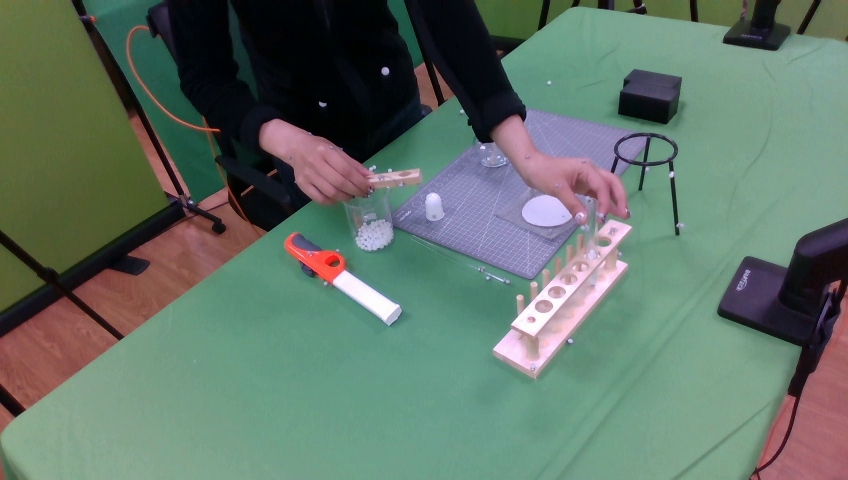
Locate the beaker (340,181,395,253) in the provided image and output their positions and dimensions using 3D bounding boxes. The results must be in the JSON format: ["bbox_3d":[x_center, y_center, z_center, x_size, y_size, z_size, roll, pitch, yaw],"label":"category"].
[{"bbox_3d":[-0.086,-0.037,0.985,0.084,0.101,0.073,-18,41,-11],"label":"beaker"}]

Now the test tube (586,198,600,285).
[{"bbox_3d":[0.220,0.006,0.788,0.017,0.151,0.017,-8,42,8],"label":"test tube"}]

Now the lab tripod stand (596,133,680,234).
[{"bbox_3d":[0.338,-0.091,0.940,0.148,0.132,0.147,-7,39,6],"label":"lab tripod stand"}]

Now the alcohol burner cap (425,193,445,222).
[{"bbox_3d":[0.017,-0.058,1.029,0.034,0.048,0.033,-6,39,5],"label":"alcohol burner cap"}]

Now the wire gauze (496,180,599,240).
[{"bbox_3d":[0.206,-0.050,1.012,0.125,0.011,0.120,-34,45,-26],"label":"wire gauze"}]

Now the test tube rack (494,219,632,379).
[{"bbox_3d":[0.191,0.068,0.818,0.066,0.085,0.243,26,51,35],"label":"test tube rack"}]

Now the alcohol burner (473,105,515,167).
[{"bbox_3d":[0.128,-0.196,1.116,0.078,0.119,0.077,-4,40,4],"label":"alcohol burner"}]

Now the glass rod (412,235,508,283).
[{"bbox_3d":[0.051,0.028,0.951,0.198,0.008,0.008,25,51,37],"label":"glass rod"}]

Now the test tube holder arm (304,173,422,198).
[{"bbox_3d":[-0.089,-0.078,0.857,0.178,0.015,0.013,-7,39,17],"label":"test tube holder arm"}]

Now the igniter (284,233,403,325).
[{"bbox_3d":[-0.136,0.054,0.942,0.274,0.025,0.057,29,63,37],"label":"igniter"}]

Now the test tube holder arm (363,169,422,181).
[{"bbox_3d":[-0.045,-0.086,0.847,0.087,0.015,0.010,-6,40,18],"label":"test tube holder arm"}]
